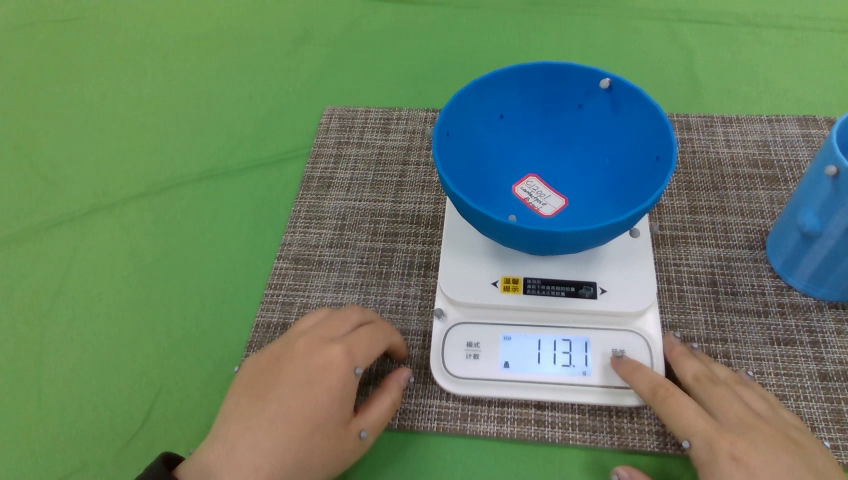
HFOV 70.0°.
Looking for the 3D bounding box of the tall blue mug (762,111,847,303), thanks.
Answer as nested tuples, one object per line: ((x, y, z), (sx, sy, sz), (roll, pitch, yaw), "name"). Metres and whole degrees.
((0.288, -0.011, 0.383), (0.078, 0.109, 0.106), (-39, 59, -23), "tall blue mug")

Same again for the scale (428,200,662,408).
((0.084, 0.016, 0.430), (0.148, 0.032, 0.199), (2, 54, 7), "scale")

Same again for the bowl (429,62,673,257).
((0.080, -0.041, 0.406), (0.151, 0.077, 0.150), (-2, 53, 3), "bowl")
